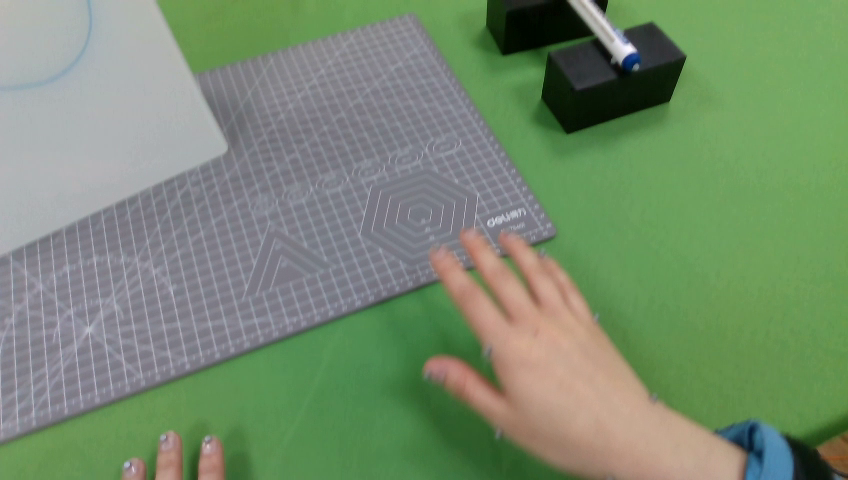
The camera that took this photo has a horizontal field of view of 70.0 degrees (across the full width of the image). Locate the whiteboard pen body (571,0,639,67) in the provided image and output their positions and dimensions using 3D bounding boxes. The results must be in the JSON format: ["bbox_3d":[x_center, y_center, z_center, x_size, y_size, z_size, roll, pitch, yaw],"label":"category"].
[{"bbox_3d":[0.140,-0.195,0.511,0.017,0.017,0.139,-18,59,-9],"label":"whiteboard pen body"}]

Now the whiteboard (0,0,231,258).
[{"bbox_3d":[-0.317,-0.171,0.434,0.217,0.308,0.142,-29,41,-15],"label":"whiteboard"}]
